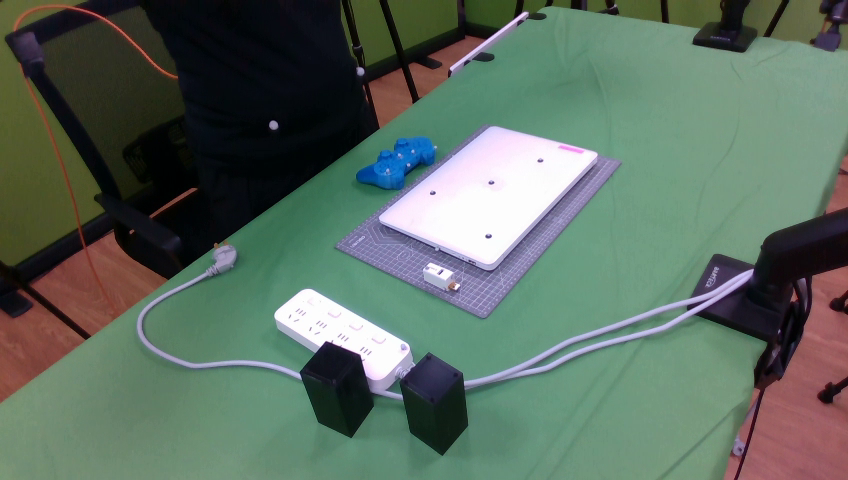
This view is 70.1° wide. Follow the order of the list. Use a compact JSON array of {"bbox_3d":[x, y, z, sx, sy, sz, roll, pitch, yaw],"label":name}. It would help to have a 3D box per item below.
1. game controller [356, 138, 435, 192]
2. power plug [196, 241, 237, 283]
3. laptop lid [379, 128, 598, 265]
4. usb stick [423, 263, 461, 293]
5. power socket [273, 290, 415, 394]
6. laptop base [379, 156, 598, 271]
[{"bbox_3d":[-0.049,-0.149,1.136,0.096,0.052,0.155,27,51,28],"label":"game controller"},{"bbox_3d":[-0.336,0.031,0.968,0.073,0.035,0.052,-18,58,-29],"label":"power plug"},{"bbox_3d":[0.117,-0.095,1.048,0.239,0.013,0.358,23,49,34],"label":"laptop lid"},{"bbox_3d":[0.028,0.058,0.889,0.059,0.027,0.021,25,48,29],"label":"usb stick"},{"bbox_3d":[-0.114,0.133,0.820,0.225,0.033,0.072,24,48,32],"label":"power socket"},{"bbox_3d":[0.120,-0.085,1.054,0.233,0.023,0.355,21,48,34],"label":"laptop base"}]
